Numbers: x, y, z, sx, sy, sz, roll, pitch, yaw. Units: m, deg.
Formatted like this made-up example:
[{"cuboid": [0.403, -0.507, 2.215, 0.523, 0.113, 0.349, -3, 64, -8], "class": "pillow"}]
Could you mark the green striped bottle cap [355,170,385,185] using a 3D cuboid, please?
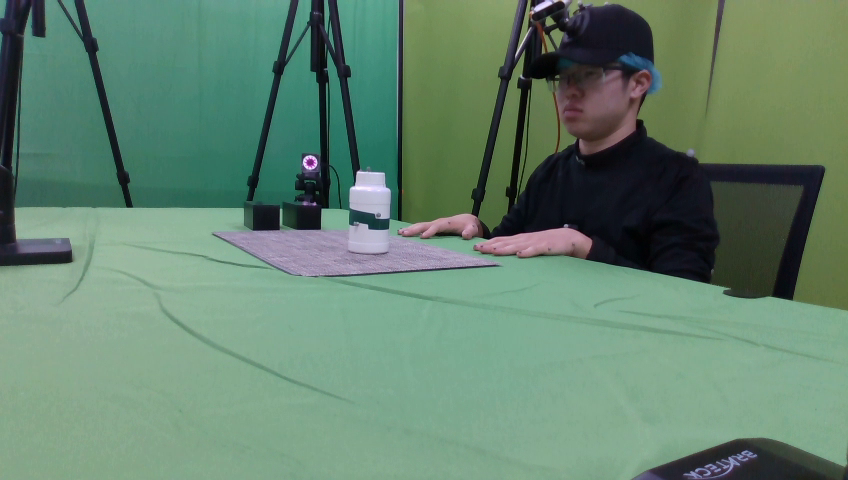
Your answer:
[{"cuboid": [-0.080, -0.094, 0.907, 0.044, 0.020, 0.044, 3, 9, 0], "class": "green striped bottle cap"}]

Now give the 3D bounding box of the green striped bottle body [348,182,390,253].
[{"cuboid": [-0.083, -0.043, 0.914, 0.063, 0.119, 0.063, 2, 7, 0], "class": "green striped bottle body"}]
